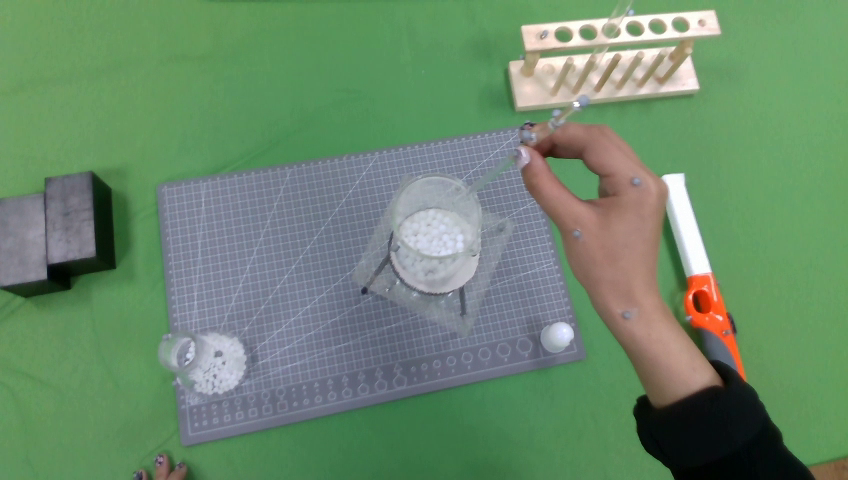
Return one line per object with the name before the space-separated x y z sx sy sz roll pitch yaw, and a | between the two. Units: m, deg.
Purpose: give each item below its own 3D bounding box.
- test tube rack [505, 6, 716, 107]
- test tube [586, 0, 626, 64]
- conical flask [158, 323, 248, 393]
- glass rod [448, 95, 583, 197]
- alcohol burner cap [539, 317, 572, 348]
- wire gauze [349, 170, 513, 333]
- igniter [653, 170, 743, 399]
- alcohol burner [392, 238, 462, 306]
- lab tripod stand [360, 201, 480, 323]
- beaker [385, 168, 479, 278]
test tube rack | 0.231 -0.228 0.758 0.243 0.085 0.066 -7 74 -6
test tube | 0.215 -0.253 0.713 0.017 0.151 0.017 0 74 -1
conical flask | -0.225 0.113 0.606 0.075 0.122 0.075 1 73 -4
glass rod | 0.054 -0.059 0.423 0.008 0.199 0.008 4 78 -18
alcohol burner cap | 0.149 0.101 0.678 0.034 0.048 0.033 1 73 -4
wire gauze | 0.008 0.008 0.578 0.125 0.011 0.121 26 77 2
igniter | 0.323 0.046 0.717 0.057 0.025 0.275 -6 74 -17
alcohol burner | 0.004 0.031 0.651 0.078 0.119 0.077 1 75 -2
lab tripod stand | 0.002 0.025 0.642 0.148 0.132 0.147 1 75 -3
beaker | 0.007 -0.008 0.533 0.084 0.100 0.074 39 76 7
